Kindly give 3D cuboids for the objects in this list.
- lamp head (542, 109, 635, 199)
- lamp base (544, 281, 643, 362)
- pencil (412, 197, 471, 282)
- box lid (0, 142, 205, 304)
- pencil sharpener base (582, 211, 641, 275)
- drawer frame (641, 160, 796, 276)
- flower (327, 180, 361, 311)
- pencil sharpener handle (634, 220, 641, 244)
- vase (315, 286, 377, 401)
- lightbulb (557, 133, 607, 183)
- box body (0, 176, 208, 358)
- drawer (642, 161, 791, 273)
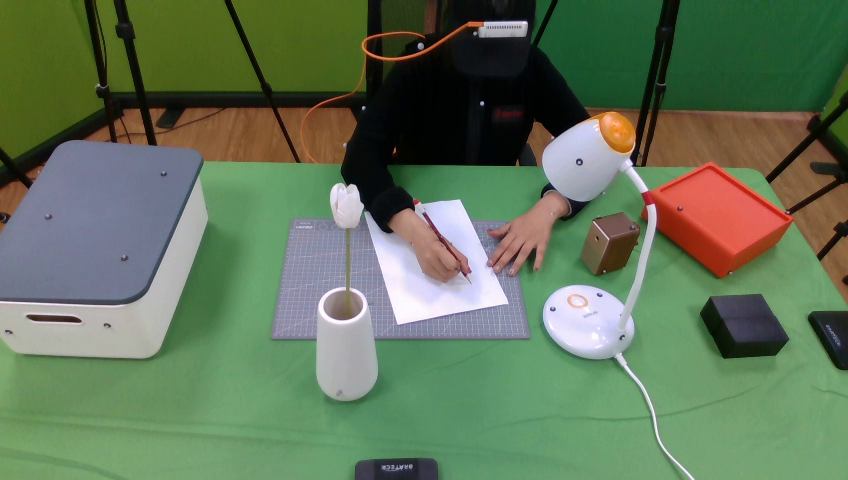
[{"bbox_3d":[0.253,-0.131,0.893,0.113,0.123,0.112,10,66,-24],"label":"lamp head"},{"bbox_3d":[0.303,0.095,1.014,0.161,0.181,0.178,-24,54,-24],"label":"lamp base"},{"bbox_3d":[0.035,0.002,1.112,0.012,0.012,0.194,-45,107,-36],"label":"pencil"},{"bbox_3d":[-0.533,-0.044,0.995,0.263,0.015,0.369,3,45,-3],"label":"box lid"},{"bbox_3d":[0.357,0.005,1.156,0.077,0.107,0.061,-15,48,-17],"label":"pencil sharpener base"},{"bbox_3d":[0.599,-0.051,1.244,0.202,0.083,0.212,-24,53,-25],"label":"drawer frame"},{"bbox_3d":[-0.111,0.086,0.867,0.044,0.363,0.038,22,33,36],"label":"flower"},{"bbox_3d":[0.405,-0.015,1.162,0.031,0.068,0.035,-15,46,-17],"label":"pencil sharpener handle"},{"bbox_3d":[-0.119,0.159,0.911,0.098,0.201,0.097,2,47,-2],"label":"vase"},{"bbox_3d":[0.243,-0.127,0.917,0.059,0.108,0.059,6,67,-13],"label":"lightbulb"},{"bbox_3d":[-0.546,0.017,1.045,0.254,0.161,0.361,2,46,-2],"label":"box body"},{"bbox_3d":[0.596,-0.052,1.245,0.194,0.073,0.210,-23,52,-25],"label":"drawer"}]
